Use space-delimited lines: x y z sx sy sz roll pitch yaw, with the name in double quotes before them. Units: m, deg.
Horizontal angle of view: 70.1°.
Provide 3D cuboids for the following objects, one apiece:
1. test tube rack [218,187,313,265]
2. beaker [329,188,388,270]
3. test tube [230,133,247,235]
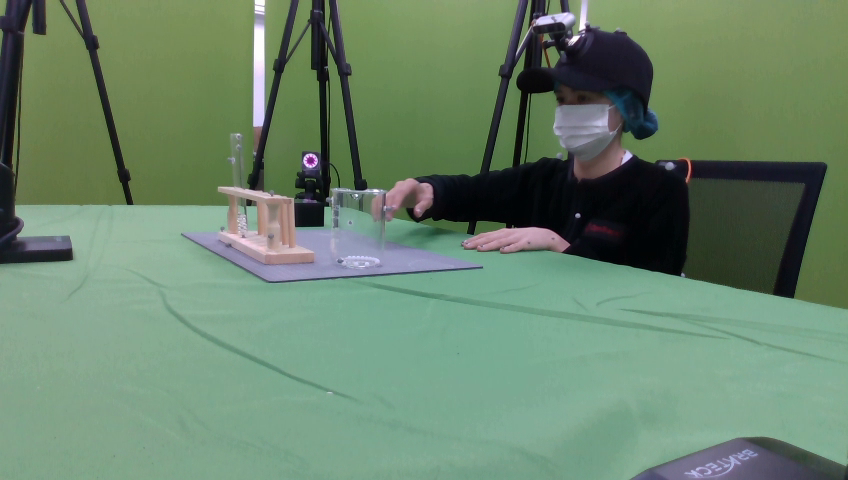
"test tube rack" -0.235 -0.027 0.872 0.067 0.085 0.241 -2 8 -32
"beaker" -0.087 -0.016 0.786 0.074 0.100 0.083 1 7 -13
"test tube" -0.273 -0.081 0.892 0.017 0.150 0.017 -1 9 0
